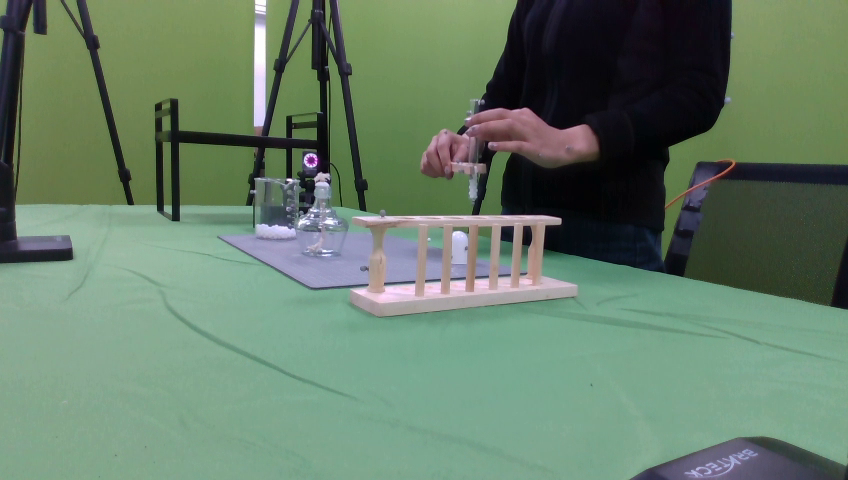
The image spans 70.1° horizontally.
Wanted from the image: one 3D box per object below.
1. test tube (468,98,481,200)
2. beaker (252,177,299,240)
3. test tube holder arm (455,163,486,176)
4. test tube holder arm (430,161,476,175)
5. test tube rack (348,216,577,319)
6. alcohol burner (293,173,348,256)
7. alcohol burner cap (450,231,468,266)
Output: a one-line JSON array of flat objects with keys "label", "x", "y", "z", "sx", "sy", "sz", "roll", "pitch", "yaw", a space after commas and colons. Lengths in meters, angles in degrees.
[{"label": "test tube", "x": 0.074, "y": -0.133, "z": 0.894, "sx": 0.017, "sy": 0.150, "sz": 0.017, "roll": 0, "pitch": 10, "yaw": 0}, {"label": "beaker", "x": -0.245, "y": -0.052, "z": 1.005, "sx": 0.074, "sy": 0.100, "sz": 0.083, "roll": -3, "pitch": 10, "yaw": -32}, {"label": "test tube holder arm", "x": 0.066, "y": -0.108, "z": 0.925, "sx": 0.010, "sy": 0.015, "sz": 0.087, "roll": -2, "pitch": 10, "yaw": -31}, {"label": "test tube holder arm", "x": 0.043, "y": -0.116, "z": 0.963, "sx": 0.013, "sy": 0.015, "sz": 0.177, "roll": 1, "pitch": 9, "yaw": -21}, {"label": "test tube rack", "x": 0.048, "y": 0.021, "z": 0.619, "sx": 0.244, "sy": 0.085, "sz": 0.066, "roll": -2, "pitch": 9, "yaw": -31}, {"label": "alcohol burner", "x": -0.147, "y": -0.036, "z": 0.859, "sx": 0.078, "sy": 0.119, "sz": 0.078, "roll": 4, "pitch": 8, "yaw": 0}, {"label": "alcohol burner cap", "x": 0.046, "y": 0.012, "z": 0.838, "sx": 0.034, "sy": 0.048, "sz": 0.034, "roll": 3, "pitch": 6, "yaw": 0}]
